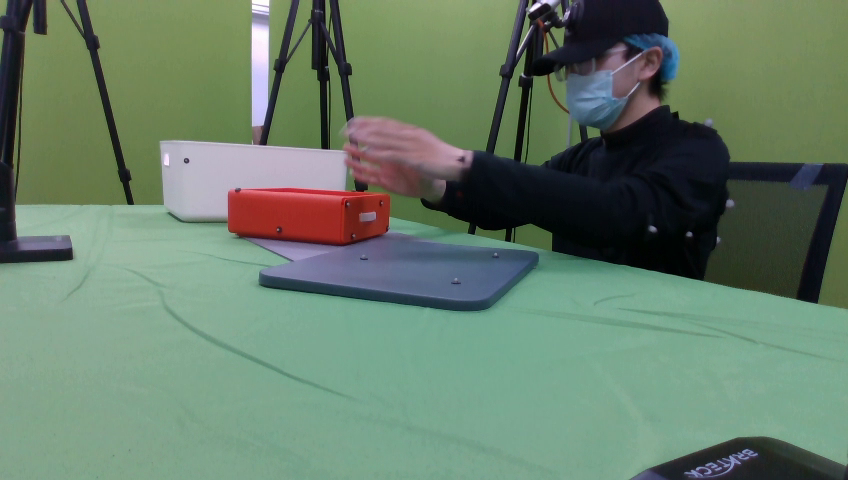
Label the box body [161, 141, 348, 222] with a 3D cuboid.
[{"bbox_3d":[-0.379,-0.132,1.352,0.366,0.160,0.253,-2,8,-30],"label":"box body"}]

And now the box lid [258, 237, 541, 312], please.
[{"bbox_3d":[-0.004,0.033,0.773,0.262,0.015,0.372,5,8,19],"label":"box lid"}]

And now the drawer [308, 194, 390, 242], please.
[{"bbox_3d":[-0.189,-0.047,1.061,0.211,0.073,0.195,4,8,18],"label":"drawer"}]

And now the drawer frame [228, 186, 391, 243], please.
[{"bbox_3d":[-0.193,-0.050,1.061,0.213,0.082,0.202,4,8,17],"label":"drawer frame"}]

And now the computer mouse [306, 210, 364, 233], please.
[{"bbox_3d":[-0.153,-0.032,1.053,0.062,0.041,0.117,1,0,18],"label":"computer mouse"}]
